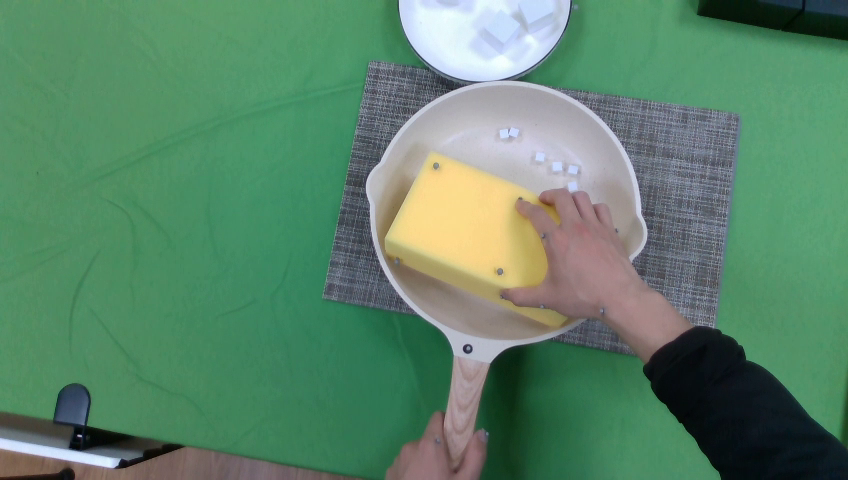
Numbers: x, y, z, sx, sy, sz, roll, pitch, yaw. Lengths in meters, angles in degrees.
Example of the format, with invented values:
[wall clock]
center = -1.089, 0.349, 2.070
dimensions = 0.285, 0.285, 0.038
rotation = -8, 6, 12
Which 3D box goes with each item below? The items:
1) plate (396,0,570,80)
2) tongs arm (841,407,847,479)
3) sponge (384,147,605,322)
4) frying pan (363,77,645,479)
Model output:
[plate]
center = 0.071, -0.290, 0.737
dimensions = 0.207, 0.039, 0.207
rotation = 0, 83, 3
[tongs arm]
center = 0.501, 0.093, 0.668
dimensions = 0.028, 0.028, 0.386
rotation = 12, 84, 2
[sponge]
center = 0.074, -0.005, 0.660
dimensions = 0.206, 0.061, 0.117
rotation = 22, 71, 7
[frying pan]
center = 0.062, 0.064, 0.655
dimensions = 0.306, 0.103, 0.485
rotation = 12, 75, 6
